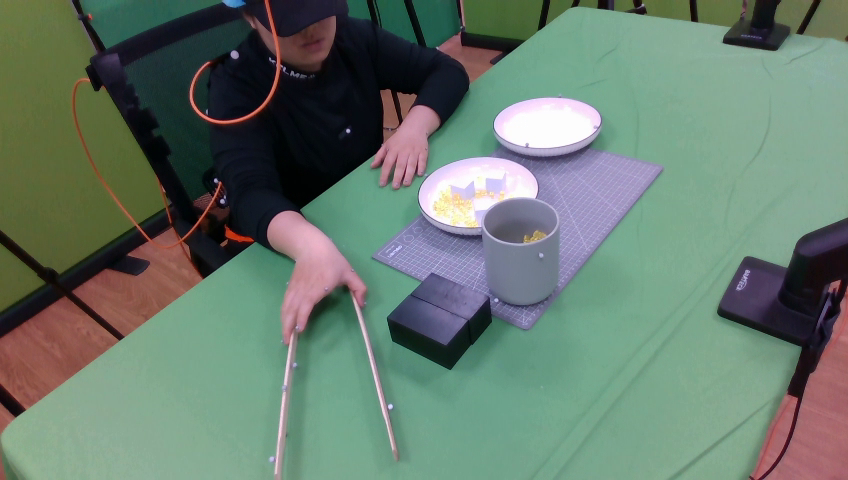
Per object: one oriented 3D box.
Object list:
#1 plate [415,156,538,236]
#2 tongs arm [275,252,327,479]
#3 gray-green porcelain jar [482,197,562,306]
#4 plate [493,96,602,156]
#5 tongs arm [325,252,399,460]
[{"bbox_3d":[0.090,-0.072,1.034,0.207,0.039,0.206,-5,40,5],"label":"plate"},{"bbox_3d":[-0.162,0.148,0.828,0.051,0.026,0.382,-9,38,-1],"label":"tongs arm"},{"bbox_3d":[0.138,0.020,0.846,0.106,0.127,0.105,-5,40,5],"label":"gray-green porcelain jar"},{"bbox_3d":[0.238,-0.218,1.180,0.209,0.038,0.208,-5,39,4],"label":"plate"},{"bbox_3d":[-0.090,0.135,0.834,0.028,0.028,0.384,-19,40,-7],"label":"tongs arm"}]
